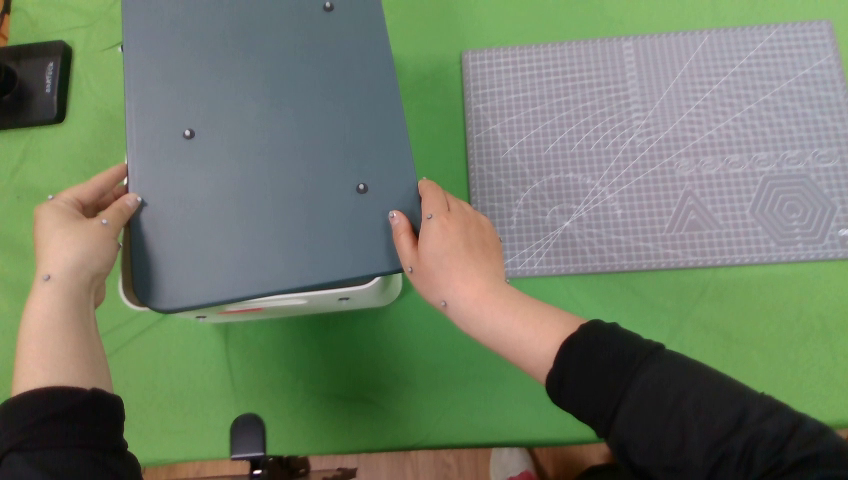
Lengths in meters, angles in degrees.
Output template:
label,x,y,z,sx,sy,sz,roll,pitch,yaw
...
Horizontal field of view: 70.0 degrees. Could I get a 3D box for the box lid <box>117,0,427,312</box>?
label,x,y,z,sx,sy,sz,roll,pitch,yaw
box lid,-0.155,-0.128,0.583,0.263,0.015,0.369,-11,73,-4

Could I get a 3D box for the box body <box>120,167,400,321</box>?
label,x,y,z,sx,sy,sz,roll,pitch,yaw
box body,-0.167,-0.099,0.674,0.254,0.161,0.362,-7,75,4
